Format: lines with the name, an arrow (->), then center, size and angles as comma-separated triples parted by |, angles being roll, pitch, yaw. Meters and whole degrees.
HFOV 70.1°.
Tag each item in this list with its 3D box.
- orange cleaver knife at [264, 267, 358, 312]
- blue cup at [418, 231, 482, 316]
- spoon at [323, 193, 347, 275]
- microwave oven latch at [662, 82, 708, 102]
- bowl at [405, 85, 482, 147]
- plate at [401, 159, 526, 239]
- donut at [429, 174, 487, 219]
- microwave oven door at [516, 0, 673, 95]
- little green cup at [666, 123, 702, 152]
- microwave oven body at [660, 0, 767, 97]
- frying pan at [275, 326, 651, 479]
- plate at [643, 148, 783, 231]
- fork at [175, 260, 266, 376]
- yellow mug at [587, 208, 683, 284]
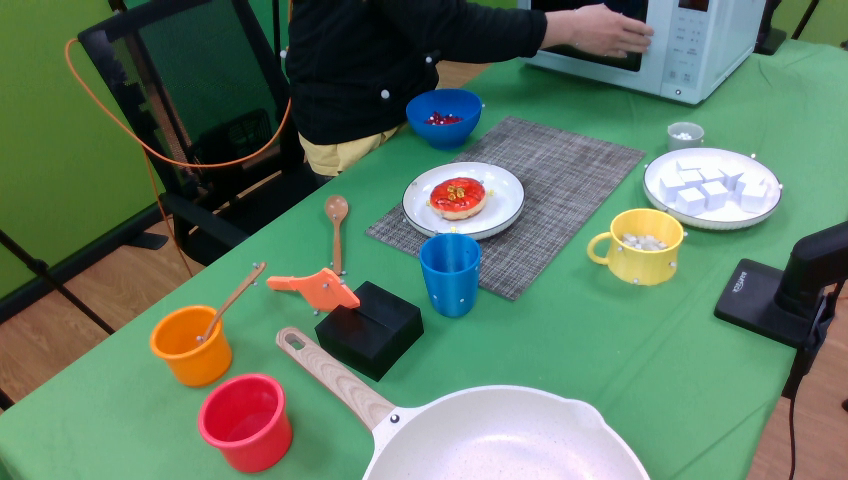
orange cleaver knife -> -0.165, 0.073, 0.864 | 0.210, 0.077, 0.012 | -6, 31, 49
blue cup -> 0.040, 0.053, 0.843 | 0.092, 0.100, 0.092 | -4, 43, 4
spoon -> -0.148, -0.014, 1.007 | 0.042, 0.021, 0.192 | 6, 38, -14
microwave oven latch -> 0.518, -0.298, 1.202 | 0.078, 0.029, 0.030 | 29, 53, 36
bowl -> 0.041, -0.236, 1.196 | 0.151, 0.077, 0.150 | -4, 40, 4
plate -> 0.067, -0.065, 1.019 | 0.209, 0.038, 0.208 | -4, 40, 4
donut -> 0.057, -0.075, 1.015 | 0.099, 0.048, 0.098 | -6, 38, 5
microwave oven door -> 0.344, -0.458, 1.256 | 0.353, 0.245, 0.039 | 26, 51, 33
little green cup -> 0.472, -0.183, 1.102 | 0.061, 0.039, 0.061 | -5, 39, 5
microwave oven body -> 0.473, -0.516, 1.313 | 0.438, 0.261, 0.327 | 26, 51, 34
frying pan -> 0.004, 0.230, 0.641 | 0.484, 0.103, 0.308 | 34, 54, 28
plate -> 0.464, -0.080, 0.986 | 0.207, 0.039, 0.206 | -4, 41, 4
fork -> -0.268, 0.103, 0.792 | 0.207, 0.019, 0.028 | -51, 41, 16
yellow mug -> 0.305, 0.009, 0.884 | 0.131, 0.064, 0.099 | -4, 41, 5
